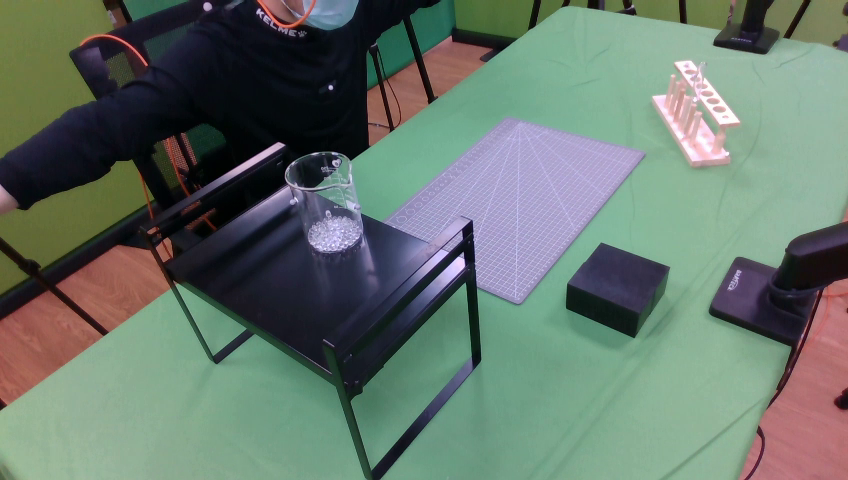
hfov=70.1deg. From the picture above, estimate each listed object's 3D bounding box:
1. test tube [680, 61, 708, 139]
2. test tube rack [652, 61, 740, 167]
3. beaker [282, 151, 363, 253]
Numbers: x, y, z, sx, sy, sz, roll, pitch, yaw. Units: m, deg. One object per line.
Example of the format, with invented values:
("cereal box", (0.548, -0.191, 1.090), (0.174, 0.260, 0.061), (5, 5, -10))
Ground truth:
("test tube", (0.476, -0.245, 1.068), (0.017, 0.151, 0.017), (-3, 42, 3))
("test tube rack", (0.499, -0.242, 1.130), (0.067, 0.085, 0.241), (-5, 41, 3))
("beaker", (-0.110, -0.041, 0.697), (0.083, 0.101, 0.074), (18, 47, 26))
